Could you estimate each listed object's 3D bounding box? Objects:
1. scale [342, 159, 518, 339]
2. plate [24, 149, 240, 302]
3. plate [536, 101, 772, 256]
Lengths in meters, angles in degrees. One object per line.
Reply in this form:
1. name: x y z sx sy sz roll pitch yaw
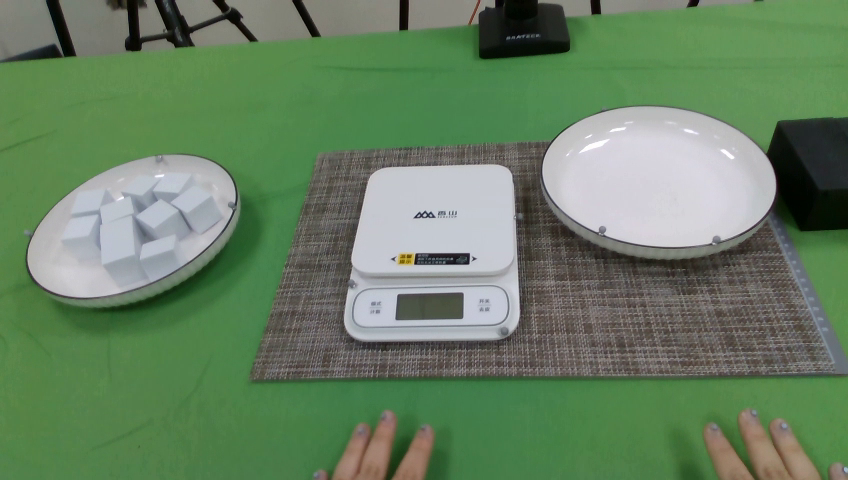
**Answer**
1. scale: 0.009 0.001 0.554 0.148 0.032 0.199 -1 47 8
2. plate: -0.287 -0.015 0.614 0.209 0.038 0.207 -4 46 4
3. plate: 0.211 -0.058 0.576 0.207 0.039 0.205 -4 46 5
